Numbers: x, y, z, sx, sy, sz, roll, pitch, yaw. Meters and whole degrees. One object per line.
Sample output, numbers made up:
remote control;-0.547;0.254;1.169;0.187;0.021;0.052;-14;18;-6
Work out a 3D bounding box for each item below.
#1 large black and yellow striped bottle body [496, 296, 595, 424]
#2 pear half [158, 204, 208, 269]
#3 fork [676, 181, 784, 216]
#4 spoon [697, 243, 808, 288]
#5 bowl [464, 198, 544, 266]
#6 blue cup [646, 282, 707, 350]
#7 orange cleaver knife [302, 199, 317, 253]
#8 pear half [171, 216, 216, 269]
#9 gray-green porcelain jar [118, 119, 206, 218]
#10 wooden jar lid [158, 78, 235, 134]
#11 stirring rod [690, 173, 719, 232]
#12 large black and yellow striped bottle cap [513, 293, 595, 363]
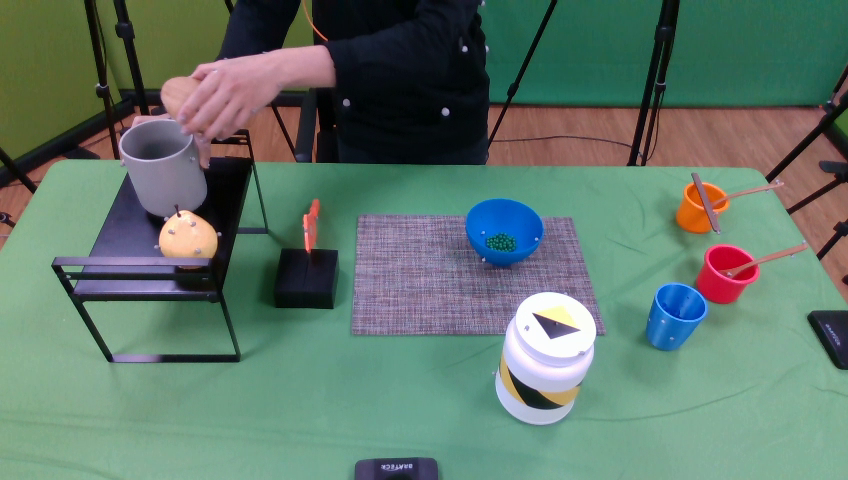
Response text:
large black and yellow striped bottle body;0.183;0.182;0.924;0.131;0.185;0.130;2;46;-2
pear half;-0.352;-0.015;0.873;0.056;0.110;0.076;25;45;19
fork;0.618;-0.083;1.235;0.019;0.207;0.028;54;40;-16
spoon;0.601;0.045;1.115;0.194;0.022;0.041;-29;35;30
bowl;0.149;-0.003;1.168;0.151;0.077;0.150;2;46;-2
blue cup;0.425;0.136;1.042;0.093;0.101;0.092;1;44;-1
orange cleaver knife;-0.219;-0.031;1.168;0.012;0.077;0.210;-5;17;-3
pear half;-0.323;0.007;0.867;0.031;0.088;0.070;24;45;20
gray-green porcelain jar;-0.403;-0.107;0.947;0.106;0.127;0.105;3;46;-3
wooden jar lid;-0.329;-0.192;0.877;0.109;0.021;0.107;26;36;-21
stirring rod;0.566;-0.079;1.225;0.014;0.006;0.175;2;45;2
large black and yellow striped bottle cap;0.186;0.123;0.863;0.115;0.019;0.114;3;45;-3
